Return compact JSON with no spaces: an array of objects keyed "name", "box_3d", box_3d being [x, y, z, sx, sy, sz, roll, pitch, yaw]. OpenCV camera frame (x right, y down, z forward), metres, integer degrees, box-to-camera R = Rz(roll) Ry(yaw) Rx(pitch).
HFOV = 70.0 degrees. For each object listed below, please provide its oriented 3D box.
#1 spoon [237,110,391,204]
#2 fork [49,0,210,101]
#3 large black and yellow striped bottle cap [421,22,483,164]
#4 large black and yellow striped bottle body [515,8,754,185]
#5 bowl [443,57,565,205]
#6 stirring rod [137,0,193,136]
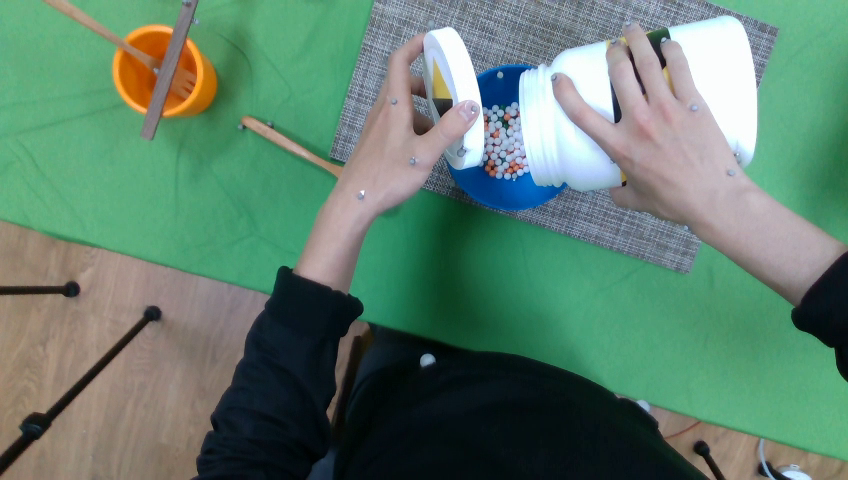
[{"name":"spoon","box_3d":[-0.124,-0.098,0.686,0.194,0.021,0.042,28,109,-7]},{"name":"fork","box_3d":[-0.303,-0.201,0.600,0.028,0.018,0.209,-51,140,6]},{"name":"large black and yellow striped bottle cap","box_3d":[0.021,-0.120,0.504,0.019,0.114,0.115,-14,97,-10]},{"name":"large black and yellow striped bottle body","box_3d":[0.183,-0.121,0.543,0.183,0.131,0.131,-7,98,19]},{"name":"bowl","box_3d":[0.089,-0.115,0.662,0.151,0.076,0.151,0,98,-2]},{"name":"stirring rod","box_3d":[-0.253,-0.188,0.601,0.014,0.006,0.176,20,96,-7]}]
